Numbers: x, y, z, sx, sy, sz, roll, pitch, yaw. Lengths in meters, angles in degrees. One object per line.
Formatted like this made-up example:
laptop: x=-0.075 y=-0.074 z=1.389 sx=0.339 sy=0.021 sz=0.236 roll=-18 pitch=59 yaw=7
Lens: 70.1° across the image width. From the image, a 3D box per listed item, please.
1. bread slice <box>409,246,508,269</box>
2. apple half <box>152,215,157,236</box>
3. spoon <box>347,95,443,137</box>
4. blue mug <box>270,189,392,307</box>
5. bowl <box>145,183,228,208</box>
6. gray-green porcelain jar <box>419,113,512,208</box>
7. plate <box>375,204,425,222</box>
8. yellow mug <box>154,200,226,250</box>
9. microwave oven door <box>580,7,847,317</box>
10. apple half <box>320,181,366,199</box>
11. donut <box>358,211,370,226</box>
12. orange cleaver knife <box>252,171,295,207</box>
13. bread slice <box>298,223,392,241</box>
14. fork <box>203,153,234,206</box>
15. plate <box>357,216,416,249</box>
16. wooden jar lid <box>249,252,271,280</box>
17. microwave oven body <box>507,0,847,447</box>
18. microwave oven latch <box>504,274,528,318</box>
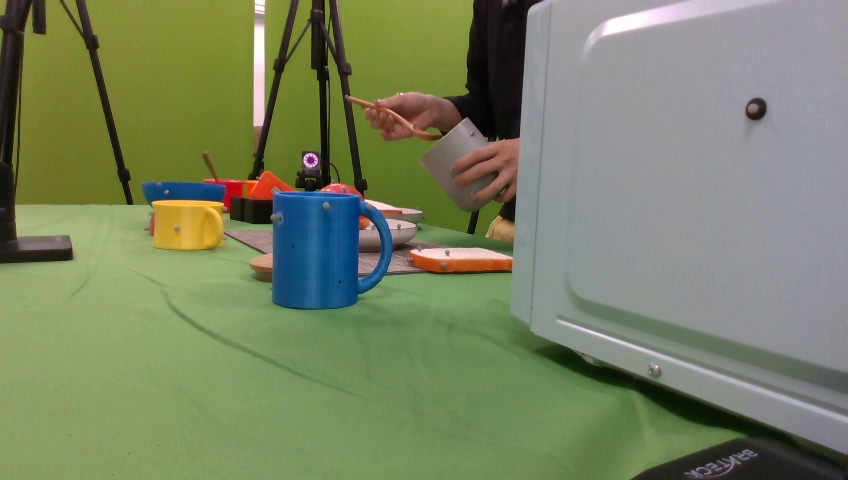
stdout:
bread slice: x=0.047 y=0.022 z=0.816 sx=0.132 sy=0.019 sz=0.104 roll=0 pitch=7 yaw=-24
apple half: x=-0.415 y=-0.034 z=1.017 sx=0.081 sy=0.053 sz=0.074 roll=1 pitch=10 yaw=-9
spoon: x=-0.052 y=-0.209 z=1.003 sx=0.193 sy=0.021 sz=0.042 roll=30 pitch=20 yaw=23
blue mug: x=-0.090 y=0.005 z=0.588 sx=0.117 sy=0.106 sz=0.082 roll=1 pitch=7 yaw=-11
bowl: x=-0.459 y=-0.069 z=1.175 sx=0.151 sy=0.077 sz=0.151 roll=3 pitch=7 yaw=0
gray-green porcelain jar: x=0.071 y=-0.123 z=0.977 sx=0.106 sy=0.126 sz=0.106 roll=-41 pitch=6 yaw=5
plate: x=-0.102 y=-0.053 z=1.299 sx=0.209 sy=0.038 sz=0.209 roll=2 pitch=8 yaw=0
yellow mug: x=-0.337 y=-0.023 z=0.899 sx=0.130 sy=0.064 sz=0.100 roll=8 pitch=10 yaw=34
microwave oven door: x=0.295 y=-0.067 z=0.570 sx=0.358 sy=0.243 sz=0.039 roll=-3 pitch=9 yaw=-31
apple half: x=-0.130 y=-0.077 z=0.952 sx=0.081 sy=0.033 sz=0.081 roll=3 pitch=15 yaw=0
donut: x=-0.132 y=-0.042 z=0.959 sx=0.099 sy=0.048 sz=0.099 roll=2 pitch=7 yaw=0
orange cleaver knife: x=-0.283 y=-0.087 z=1.343 sx=0.212 sy=0.077 sz=0.012 roll=24 pitch=-16 yaw=-41
bread slice: x=-0.121 y=-0.014 z=0.970 sx=0.106 sy=0.018 sz=0.135 roll=9 pitch=9 yaw=41
fork: x=-0.480 y=-0.136 z=1.412 sx=0.028 sy=0.018 sz=0.207 roll=0 pitch=-34 yaw=-1
plate: x=-0.116 y=-0.014 z=0.967 sx=0.208 sy=0.039 sz=0.207 roll=2 pitch=7 yaw=0
wooden jar lid: x=-0.148 y=0.028 z=0.708 sx=0.108 sy=0.020 sz=0.108 roll=-1 pitch=10 yaw=0
microwave oven body: x=0.331 y=-0.042 z=0.425 sx=0.444 sy=0.260 sz=0.324 roll=-2 pitch=8 yaw=-31
microwave oven latch: x=0.100 y=0.041 z=0.470 sx=0.079 sy=0.029 sz=0.030 roll=-1 pitch=7 yaw=-27
